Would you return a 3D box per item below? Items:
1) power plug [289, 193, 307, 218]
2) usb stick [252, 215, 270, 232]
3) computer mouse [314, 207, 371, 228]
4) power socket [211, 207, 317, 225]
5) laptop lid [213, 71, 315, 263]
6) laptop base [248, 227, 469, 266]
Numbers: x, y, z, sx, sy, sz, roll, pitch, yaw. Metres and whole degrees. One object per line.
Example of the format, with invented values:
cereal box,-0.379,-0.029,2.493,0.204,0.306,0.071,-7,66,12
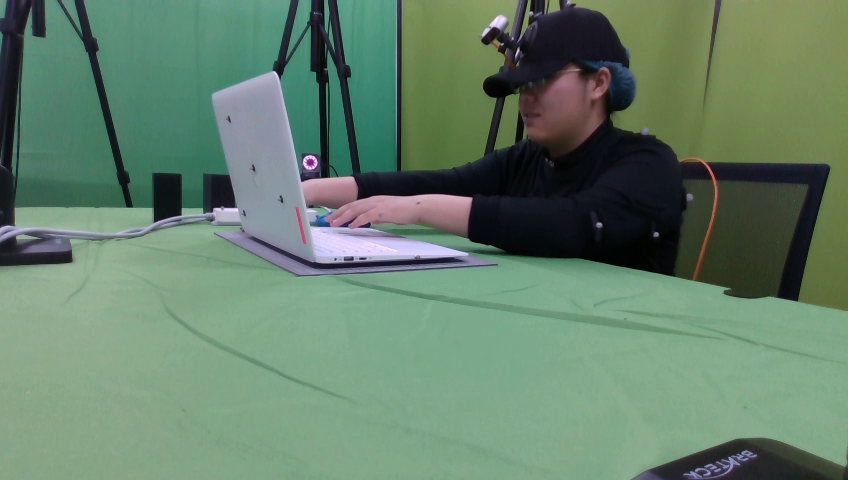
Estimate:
power plug,-0.281,-0.076,1.340,0.035,0.052,0.072,3,6,-17
usb stick,-0.288,-0.029,1.074,0.021,0.027,0.059,-2,13,-31
computer mouse,-0.173,-0.047,1.285,0.118,0.041,0.062,-8,12,-30
power socket,-0.334,-0.051,1.282,0.228,0.032,0.072,-1,9,-28
laptop lid,-0.241,-0.104,0.865,0.013,0.241,0.355,-16,17,-28
laptop base,-0.121,0.008,0.954,0.237,0.023,0.352,1,6,-31
